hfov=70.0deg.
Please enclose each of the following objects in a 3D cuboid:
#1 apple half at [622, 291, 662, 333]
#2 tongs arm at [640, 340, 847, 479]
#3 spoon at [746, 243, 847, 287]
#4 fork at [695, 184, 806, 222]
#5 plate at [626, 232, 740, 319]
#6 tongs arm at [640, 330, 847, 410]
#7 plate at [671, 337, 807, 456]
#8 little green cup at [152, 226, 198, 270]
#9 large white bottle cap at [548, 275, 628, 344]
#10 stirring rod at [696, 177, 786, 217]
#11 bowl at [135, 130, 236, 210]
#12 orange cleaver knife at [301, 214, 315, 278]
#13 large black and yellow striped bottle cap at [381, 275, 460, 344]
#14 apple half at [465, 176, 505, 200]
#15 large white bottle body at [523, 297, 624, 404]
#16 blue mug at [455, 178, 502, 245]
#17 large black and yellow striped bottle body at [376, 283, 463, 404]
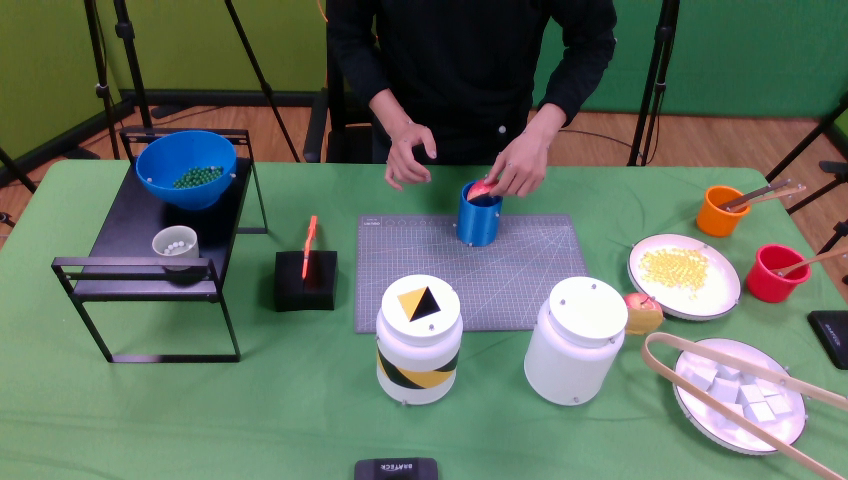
[{"bbox_3d":[0.372,0.124,1.074,0.081,0.075,0.053,0,42,1],"label":"apple half"},{"bbox_3d":[0.500,0.277,0.919,0.386,0.028,0.028,34,59,22],"label":"tongs arm"},{"bbox_3d":[0.702,0.044,1.126,0.194,0.022,0.041,-29,38,30],"label":"spoon"},{"bbox_3d":[0.658,-0.074,1.230,0.207,0.019,0.028,-24,33,36],"label":"fork"},{"bbox_3d":[0.488,0.071,1.157,0.209,0.038,0.208,3,46,-3],"label":"plate"},{"bbox_3d":[0.543,0.225,0.969,0.384,0.026,0.050,22,52,13],"label":"tongs arm"},{"bbox_3d":[0.504,0.254,0.984,0.208,0.039,0.206,2,46,-2],"label":"plate"},{"bbox_3d":[-0.364,0.013,0.894,0.061,0.039,0.061,3,47,-3],"label":"little green cup"},{"bbox_3d":[0.240,0.100,0.890,0.115,0.018,0.114,3,47,-3],"label":"large white bottle cap"},{"bbox_3d":[0.648,-0.087,1.244,0.176,0.006,0.014,-25,50,29],"label":"stirring rod"},{"bbox_3d":[-0.375,-0.102,0.978,0.151,0.077,0.150,3,46,-2],"label":"bowl"},{"bbox_3d":[-0.218,0.007,1.131,0.012,0.077,0.210,7,19,-9],"label":"orange cleaver knife"},{"bbox_3d":[-0.005,0.098,0.875,0.115,0.019,0.114,2,45,-2],"label":"large black and yellow striped bottle cap"},{"bbox_3d":[0.110,-0.103,1.149,0.081,0.081,0.033,-19,87,-21],"label":"apple half"},{"bbox_3d":[0.235,0.159,0.952,0.131,0.185,0.130,2,47,-2],"label":"large white bottle body"},{"bbox_3d":[0.105,-0.066,1.206,0.082,0.106,0.116,-3,47,-7],"label":"blue mug"},{"bbox_3d":[-0.010,0.155,0.937,0.131,0.185,0.130,2,47,-2],"label":"large black and yellow striped bottle body"}]
